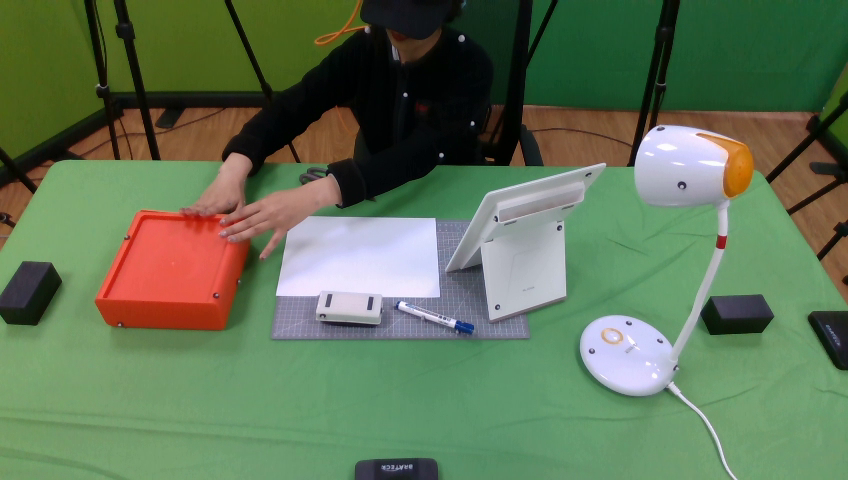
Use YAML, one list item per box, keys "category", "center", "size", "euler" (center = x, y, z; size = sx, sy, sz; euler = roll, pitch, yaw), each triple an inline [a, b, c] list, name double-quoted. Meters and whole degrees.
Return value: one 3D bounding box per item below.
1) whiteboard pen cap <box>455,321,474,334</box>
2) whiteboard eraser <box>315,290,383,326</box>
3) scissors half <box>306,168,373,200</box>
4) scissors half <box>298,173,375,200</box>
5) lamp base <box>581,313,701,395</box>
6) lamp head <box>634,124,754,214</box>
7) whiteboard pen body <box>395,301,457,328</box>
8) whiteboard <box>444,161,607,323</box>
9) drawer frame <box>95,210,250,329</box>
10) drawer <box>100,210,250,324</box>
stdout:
- category: "whiteboard pen cap"
  center: [0.069, 0.151, 1.046]
  size: [0.033, 0.018, 0.018]
  euler: [14, 47, 16]
- category: "whiteboard eraser"
  center: [-0.130, 0.120, 1.054]
  size: [0.113, 0.042, 0.055]
  euler: [4, 47, 0]
- category: "scissors half"
  center: [-0.180, -0.120, 1.311]
  size: [0.174, 0.013, 0.040]
  euler: [26, 36, 18]
- category: "scissors half"
  center: [-0.188, -0.110, 1.296]
  size: [0.175, 0.013, 0.040]
  euler: [15, 39, 5]
- category: "lamp base"
  center: [0.361, 0.144, 0.973]
  size: [0.178, 0.181, 0.160]
  euler: [34, 53, 23]
- category: "lamp head"
  center: [0.351, -0.089, 0.776]
  size: [0.112, 0.113, 0.122]
  euler: [-30, 30, -28]
- category: "whiteboard pen body"
  center: [0.015, 0.134, 1.064]
  size: [0.140, 0.017, 0.017]
  euler: [17, 47, 16]
- category: "whiteboard"
  center: [0.185, 0.025, 1.029]
  size: [0.217, 0.306, 0.143]
  euler: [-14, 68, -18]
- category: "drawer frame"
  center: [-0.434, 0.048, 1.076]
  size: [0.202, 0.083, 0.212]
  euler: [2, 46, -3]
- category: "drawer"
  center: [-0.434, 0.045, 1.082]
  size: [0.194, 0.073, 0.210]
  euler: [3, 47, -2]
